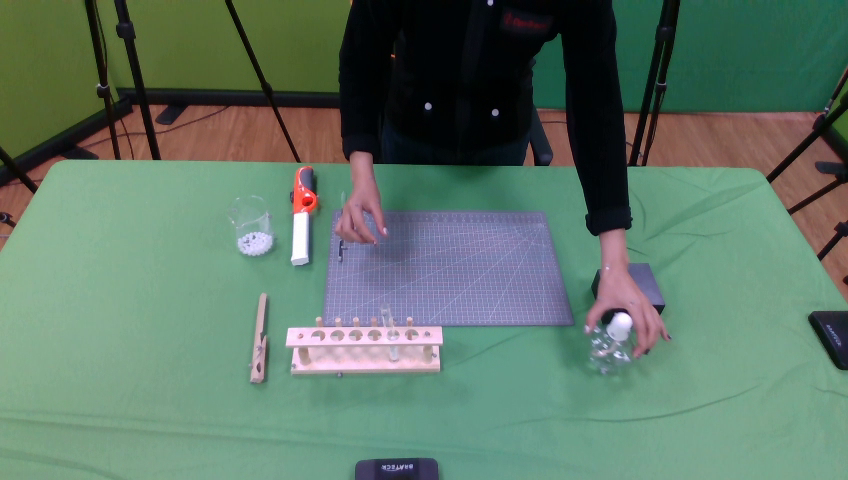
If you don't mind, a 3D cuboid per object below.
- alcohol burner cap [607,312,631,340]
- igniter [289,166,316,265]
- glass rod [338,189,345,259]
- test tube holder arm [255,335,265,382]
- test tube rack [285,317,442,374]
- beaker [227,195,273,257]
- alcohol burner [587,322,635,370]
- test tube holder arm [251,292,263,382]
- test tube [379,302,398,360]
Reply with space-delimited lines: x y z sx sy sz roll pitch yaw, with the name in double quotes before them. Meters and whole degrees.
"alcohol burner cap" 0.307 0.132 0.950 0.034 0.048 0.033 -1 51 1
"igniter" -0.247 -0.058 1.233 0.057 0.025 0.274 -10 47 0
"glass rod" -0.166 -0.037 1.227 0.008 0.008 0.198 -1 47 -4
"test tube holder arm" -0.270 0.193 0.997 0.010 0.015 0.087 24 36 -32
"test tube rack" -0.095 0.166 0.988 0.242 0.085 0.066 0 46 -4
"beaker" -0.326 -0.022 1.142 0.074 0.101 0.083 10 47 6
"alcohol burner" 0.306 0.157 0.976 0.078 0.119 0.077 4 46 -3
"test tube holder arm" -0.282 0.159 1.025 0.013 0.015 0.177 23 36 -33
"test tube" -0.054 0.145 0.942 0.017 0.151 0.017 -2 49 3
